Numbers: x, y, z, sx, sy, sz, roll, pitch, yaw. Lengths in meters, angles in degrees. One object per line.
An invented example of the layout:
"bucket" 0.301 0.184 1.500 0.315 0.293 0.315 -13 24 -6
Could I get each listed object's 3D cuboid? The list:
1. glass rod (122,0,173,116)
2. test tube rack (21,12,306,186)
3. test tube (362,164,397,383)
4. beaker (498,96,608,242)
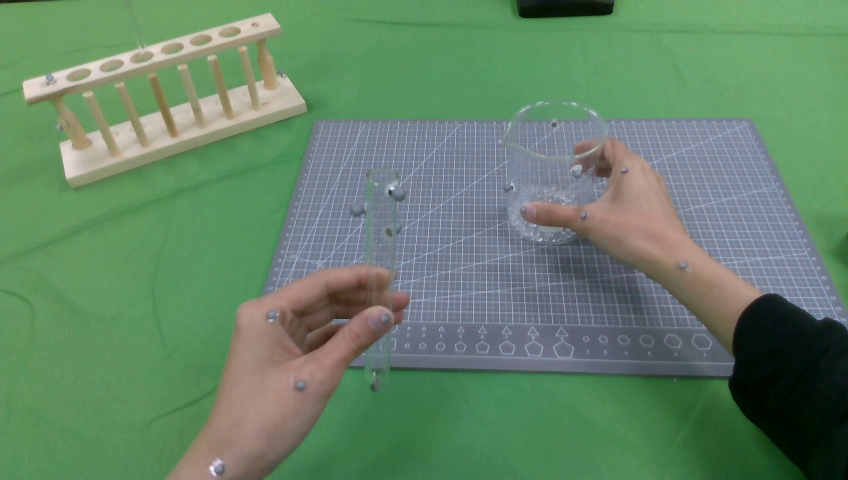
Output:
"glass rod" -0.265 -0.190 0.561 0.008 0.201 0.008 1 50 -1
"test tube rack" -0.251 -0.146 0.610 0.243 0.086 0.066 -23 51 -17
"test tube" -0.025 0.026 0.327 0.017 0.151 0.017 3 39 -2
"beaker" 0.100 -0.054 0.494 0.084 0.101 0.073 -10 47 -4
